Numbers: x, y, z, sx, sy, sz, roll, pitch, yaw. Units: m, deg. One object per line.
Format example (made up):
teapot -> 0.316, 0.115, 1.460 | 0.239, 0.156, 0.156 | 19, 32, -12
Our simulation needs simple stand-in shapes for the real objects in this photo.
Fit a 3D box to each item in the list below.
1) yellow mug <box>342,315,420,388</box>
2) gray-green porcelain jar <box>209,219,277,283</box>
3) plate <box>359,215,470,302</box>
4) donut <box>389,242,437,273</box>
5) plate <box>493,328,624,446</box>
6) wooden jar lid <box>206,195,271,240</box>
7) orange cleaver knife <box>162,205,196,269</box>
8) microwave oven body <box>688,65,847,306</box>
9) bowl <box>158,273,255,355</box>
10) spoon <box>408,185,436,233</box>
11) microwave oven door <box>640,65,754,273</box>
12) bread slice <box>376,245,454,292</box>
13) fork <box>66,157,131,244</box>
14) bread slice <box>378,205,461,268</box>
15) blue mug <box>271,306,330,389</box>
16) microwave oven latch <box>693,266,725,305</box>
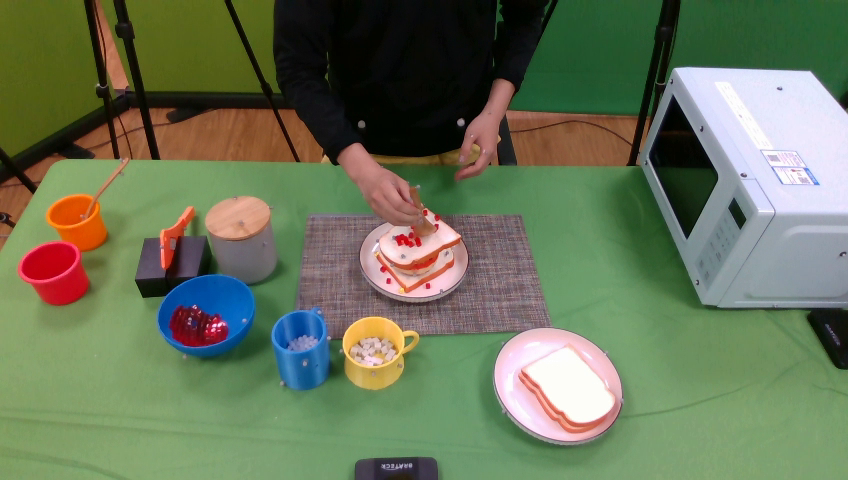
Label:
yellow mug -> -0.068, 0.177, 0.990 | 0.131, 0.064, 0.099 | -15, 50, -20
gray-green porcelain jar -> -0.323, 0.007, 1.092 | 0.106, 0.127, 0.105 | 2, 46, -2
plate -> -0.019, 0.038, 1.140 | 0.209, 0.038, 0.208 | 2, 46, -2
donut -> -0.023, 0.018, 1.120 | 0.099, 0.048, 0.098 | -10, 48, 11
plate -> 0.213, 0.236, 0.974 | 0.208, 0.039, 0.206 | 2, 46, -2
wooden jar lid -> -0.319, -0.036, 1.046 | 0.108, 0.021, 0.107 | 1, 44, 0
orange cleaver knife -> -0.454, -0.010, 1.129 | 0.012, 0.077, 0.210 | -1, 20, -5
microwave oven body -> 0.669, -0.111, 1.176 | 0.326, 0.261, 0.439 | 0, 46, -3
bowl -> -0.351, 0.136, 1.001 | 0.151, 0.077, 0.150 | 2, 46, -2
spoon -> -0.009, -0.049, 1.007 | 0.041, 0.194, 0.021 | -5, 66, 6
microwave oven door -> 0.523, -0.147, 1.193 | 0.039, 0.245, 0.353 | 0, 47, -3
bread slice -> -0.010, 0.033, 1.150 | 0.131, 0.019, 0.104 | -28, 56, -24
fork -> -0.608, -0.074, 1.132 | 0.207, 0.019, 0.028 | -52, 48, 10
bread slice -> -0.014, -0.002, 1.097 | 0.134, 0.018, 0.106 | -35, 50, -23
blue mug -> -0.188, 0.163, 0.969 | 0.082, 0.106, 0.116 | 15, 47, 10
microwave oven latch -> 0.523, 0.081, 1.115 | 0.030, 0.029, 0.078 | 3, 46, 0
